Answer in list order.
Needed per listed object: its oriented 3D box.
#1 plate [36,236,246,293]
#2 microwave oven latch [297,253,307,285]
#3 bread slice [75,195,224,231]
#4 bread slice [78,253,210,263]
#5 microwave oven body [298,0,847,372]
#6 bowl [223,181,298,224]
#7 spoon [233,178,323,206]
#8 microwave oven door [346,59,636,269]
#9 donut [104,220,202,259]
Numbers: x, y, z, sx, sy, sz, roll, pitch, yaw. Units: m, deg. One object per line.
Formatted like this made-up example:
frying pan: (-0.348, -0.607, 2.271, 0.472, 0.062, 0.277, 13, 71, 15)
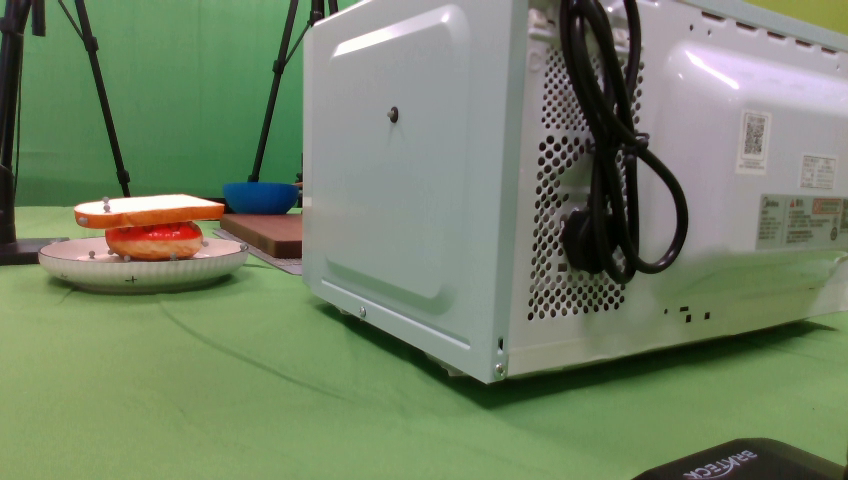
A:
plate: (-0.305, 0.026, 0.669, 0.208, 0.039, 0.207, 2, 7, 0)
microwave oven latch: (-0.082, 0.027, 0.583, 0.079, 0.029, 0.030, -1, 7, -32)
bread slice: (-0.302, -0.031, 0.660, 0.106, 0.018, 0.135, 11, 16, 41)
bread slice: (-0.302, 0.027, 0.662, 0.132, 0.019, 0.104, -4, 8, -45)
microwave oven body: (0.151, -0.055, 0.543, 0.444, 0.260, 0.324, -2, 7, -33)
bowl: (-0.333, -0.073, 1.238, 0.151, 0.076, 0.151, -1, -1, 0)
spoon: (-0.304, -0.104, 1.273, 0.194, 0.021, 0.041, -22, 5, -22)
microwave oven door: (0.085, -0.089, 0.751, 0.357, 0.243, 0.039, 1, 8, -10)
donut: (-0.298, -0.003, 0.670, 0.099, 0.048, 0.099, 3, 1, 0)
